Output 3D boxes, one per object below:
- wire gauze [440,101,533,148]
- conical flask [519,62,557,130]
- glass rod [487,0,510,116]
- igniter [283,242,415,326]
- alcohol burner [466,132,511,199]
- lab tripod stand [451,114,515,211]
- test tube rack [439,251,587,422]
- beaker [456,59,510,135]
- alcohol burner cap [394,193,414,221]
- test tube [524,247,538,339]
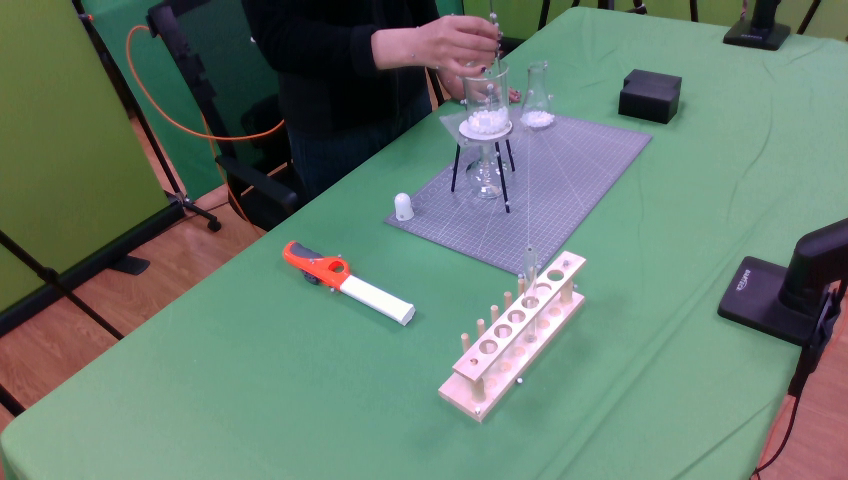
[{"bbox_3d":[0.100,-0.189,0.995,0.125,0.011,0.120,-16,37,-6],"label":"wire gauze"},{"bbox_3d":[0.225,-0.287,1.199,0.075,0.122,0.075,-6,40,5],"label":"conical flask"},{"bbox_3d":[0.116,-0.275,0.925,0.008,0.201,0.008,-10,42,9],"label":"glass rod"},{"bbox_3d":[-0.126,0.062,0.931,0.274,0.025,0.057,24,61,33],"label":"igniter"},{"bbox_3d":[0.110,-0.132,1.044,0.078,0.119,0.077,-6,38,5],"label":"alcohol burner"},{"bbox_3d":[0.113,-0.140,1.037,0.148,0.132,0.147,-6,38,5],"label":"lab tripod stand"},{"bbox_3d":[0.118,0.111,0.780,0.066,0.085,0.243,26,51,35],"label":"test tube rack"},{"bbox_3d":[0.098,-0.226,0.964,0.084,0.101,0.073,-7,39,4],"label":"beaker"},{"bbox_3d":[-0.036,-0.059,1.040,0.034,0.048,0.033,-5,41,5],"label":"alcohol burner cap"},{"bbox_3d":[0.133,0.070,0.749,0.017,0.151,0.017,-5,38,4],"label":"test tube"}]
